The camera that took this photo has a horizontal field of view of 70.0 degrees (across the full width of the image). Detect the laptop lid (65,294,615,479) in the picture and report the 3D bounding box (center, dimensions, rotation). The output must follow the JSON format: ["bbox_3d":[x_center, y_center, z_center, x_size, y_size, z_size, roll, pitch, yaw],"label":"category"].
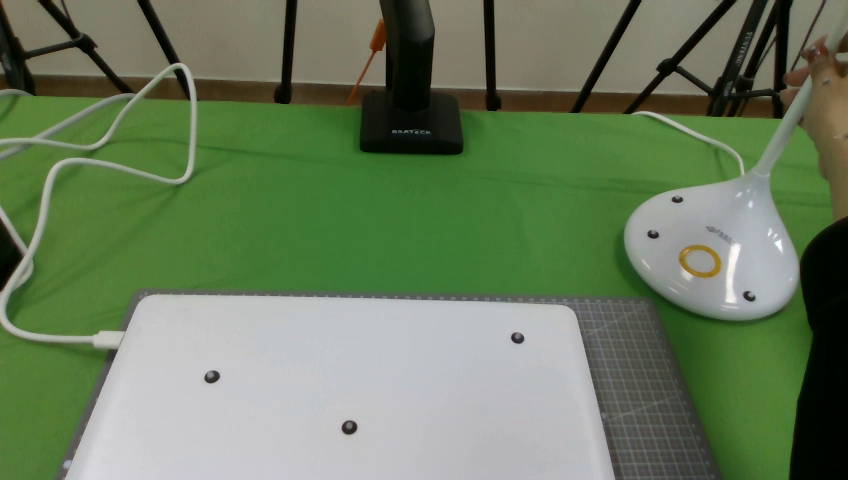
[{"bbox_3d":[-0.049,0.131,0.413,0.357,0.013,0.239,3,45,-2],"label":"laptop lid"}]

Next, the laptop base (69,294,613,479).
[{"bbox_3d":[-0.050,0.138,0.423,0.355,0.023,0.233,2,46,-3],"label":"laptop base"}]

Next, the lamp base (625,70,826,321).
[{"bbox_3d":[0.282,-0.050,0.530,0.159,0.182,0.179,28,49,22],"label":"lamp base"}]
